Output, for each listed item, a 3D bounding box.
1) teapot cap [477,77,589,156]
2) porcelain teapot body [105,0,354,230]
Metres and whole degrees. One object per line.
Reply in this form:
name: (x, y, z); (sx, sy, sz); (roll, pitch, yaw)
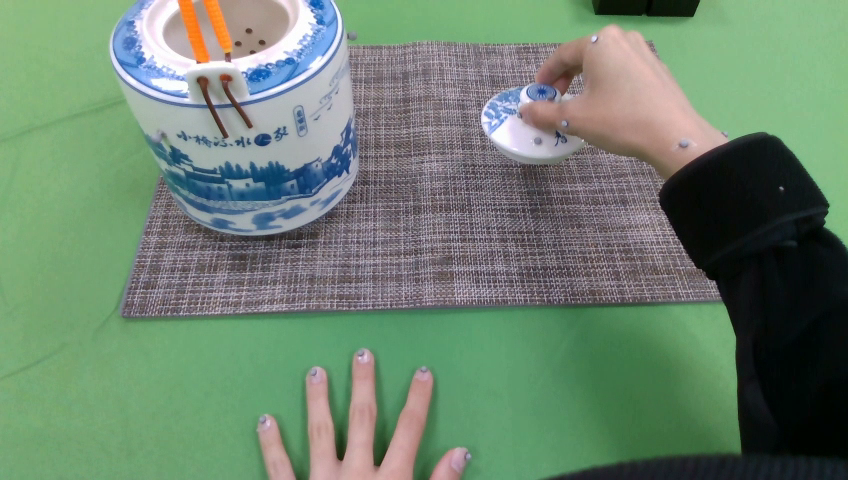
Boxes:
teapot cap: (0.083, -0.099, 0.459); (0.085, 0.044, 0.084); (-1, 49, 2)
porcelain teapot body: (-0.129, -0.142, 0.415); (0.145, 0.227, 0.203); (-7, 54, -6)
